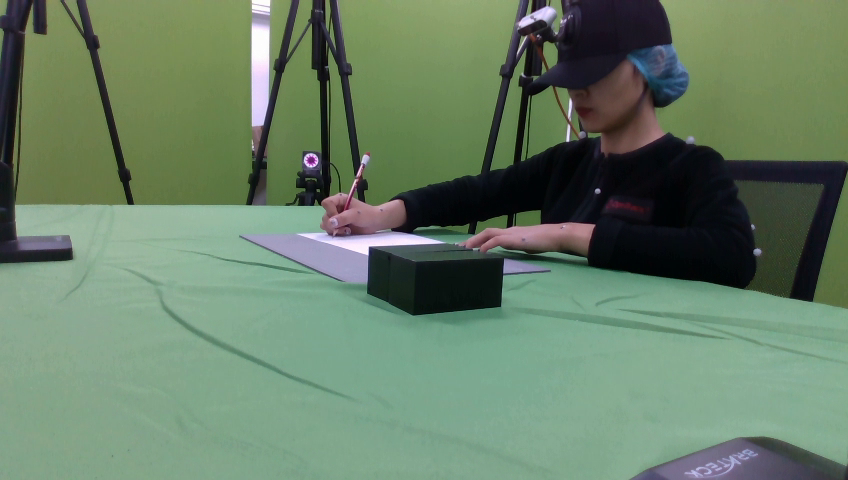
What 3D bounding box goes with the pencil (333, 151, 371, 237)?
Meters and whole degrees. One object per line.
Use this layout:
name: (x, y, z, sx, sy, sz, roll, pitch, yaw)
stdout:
pencil: (-0.129, -0.085, 1.082, 0.012, 0.194, 0.012, 13, -30, 8)
